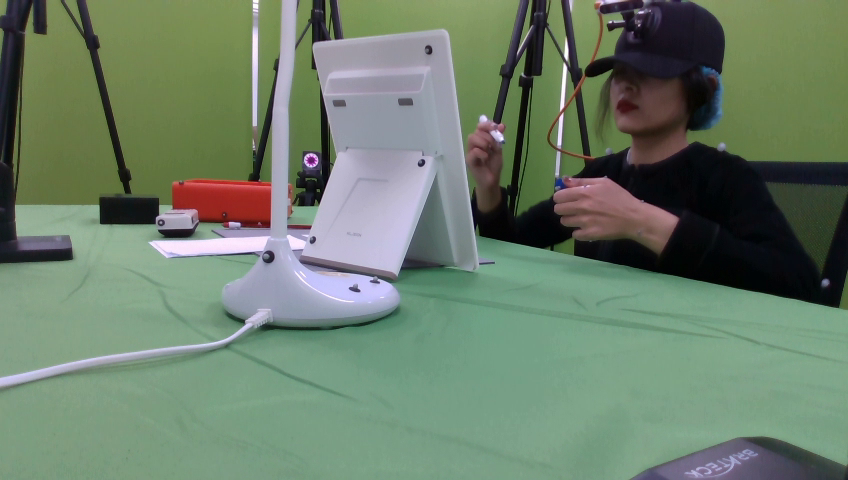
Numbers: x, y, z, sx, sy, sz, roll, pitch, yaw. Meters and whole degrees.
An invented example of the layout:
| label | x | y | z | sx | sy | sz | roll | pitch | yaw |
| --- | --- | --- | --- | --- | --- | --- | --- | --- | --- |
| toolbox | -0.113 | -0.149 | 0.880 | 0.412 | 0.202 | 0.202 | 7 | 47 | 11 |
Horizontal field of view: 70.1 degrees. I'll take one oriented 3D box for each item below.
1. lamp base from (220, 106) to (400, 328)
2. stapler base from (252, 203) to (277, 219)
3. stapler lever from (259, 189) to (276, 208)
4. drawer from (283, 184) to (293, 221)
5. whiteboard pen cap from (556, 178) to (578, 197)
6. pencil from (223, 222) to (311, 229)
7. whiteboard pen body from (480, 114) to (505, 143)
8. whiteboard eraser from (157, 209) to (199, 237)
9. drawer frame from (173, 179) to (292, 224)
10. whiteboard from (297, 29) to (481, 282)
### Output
| label | x | y | z | sx | sy | sz | roll | pitch | yaw |
| --- | --- | --- | --- | --- | --- | --- | --- | --- | --- |
| lamp base | -0.101 | -0.023 | 0.531 | 0.160 | 0.180 | 0.179 | 4 | 10 | 10 |
| stapler base | -0.341 | -0.065 | 1.301 | 0.041 | 0.024 | 0.130 | 15 | 5 | -10 |
| stapler lever | -0.335 | -0.090 | 1.300 | 0.027 | 0.040 | 0.118 | 15 | 4 | -10 |
| drawer | -0.396 | -0.084 | 1.301 | 0.212 | 0.073 | 0.194 | 1 | 8 | -7 |
| whiteboard pen cap | 0.214 | -0.079 | 0.910 | 0.018 | 0.018 | 0.033 | -5 | 35 | -44 |
| pencil | -0.274 | -0.025 | 1.132 | 0.195 | 0.012 | 0.012 | 1 | 7 | -25 |
| whiteboard pen body | 0.127 | -0.205 | 1.113 | 0.017 | 0.017 | 0.140 | 1 | 30 | -13 |
| whiteboard eraser | -0.411 | -0.029 | 1.016 | 0.056 | 0.042 | 0.112 | 2 | 7 | -16 |
| drawer frame | -0.400 | -0.086 | 1.300 | 0.214 | 0.082 | 0.201 | 1 | 8 | -8 |
| whiteboard | -0.076 | -0.082 | 0.741 | 0.216 | 0.305 | 0.144 | 9 | 29 | 37 |
